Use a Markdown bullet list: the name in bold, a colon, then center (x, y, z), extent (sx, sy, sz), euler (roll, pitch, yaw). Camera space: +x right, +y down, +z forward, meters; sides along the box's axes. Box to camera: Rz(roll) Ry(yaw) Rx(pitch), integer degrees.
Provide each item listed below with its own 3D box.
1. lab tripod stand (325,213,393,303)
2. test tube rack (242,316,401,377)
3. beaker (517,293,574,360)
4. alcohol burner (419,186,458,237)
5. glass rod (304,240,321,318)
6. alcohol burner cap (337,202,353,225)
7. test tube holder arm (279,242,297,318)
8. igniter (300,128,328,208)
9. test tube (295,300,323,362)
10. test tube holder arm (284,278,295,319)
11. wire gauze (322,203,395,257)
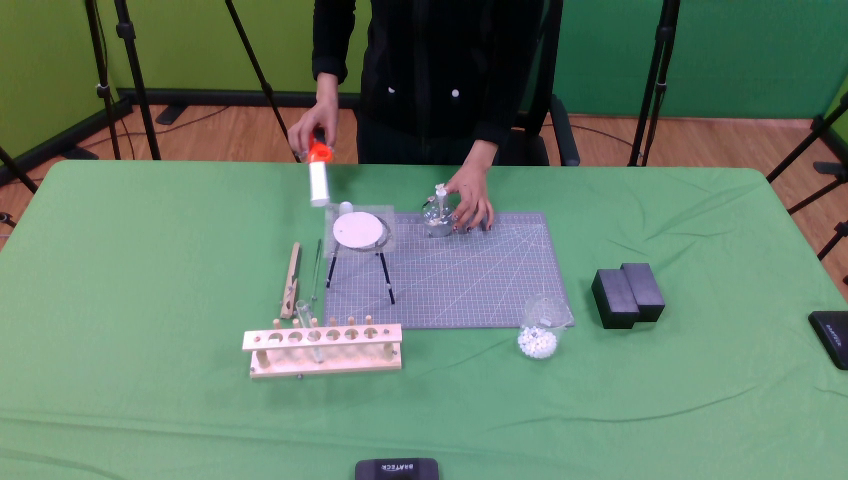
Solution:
- **lab tripod stand**: center (-0.104, 0.031, 1.080), extent (0.148, 0.132, 0.147), euler (4, 45, -4)
- **test tube rack**: center (-0.161, 0.166, 0.983), extent (0.242, 0.085, 0.066), euler (-2, 46, -6)
- **beaker**: center (0.200, 0.149, 1.018), extent (0.084, 0.101, 0.073), euler (14, 47, 8)
- **alcohol burner**: center (0.030, -0.063, 1.197), extent (0.078, 0.119, 0.077), euler (3, 48, -3)
- **glass rod**: center (-0.207, 0.068, 1.128), extent (0.008, 0.008, 0.198), euler (2, 43, -2)
- **alcohol burner cap**: center (-0.161, -0.056, 1.223), extent (0.034, 0.048, 0.033), euler (2, 46, -2)
- **test tube holder arm**: center (-0.249, 0.069, 1.114), extent (0.013, 0.015, 0.177), euler (26, 38, -27)
- **igniter**: center (-0.225, -0.155, 1.237), extent (0.057, 0.025, 0.274), euler (-5, 41, -7)
- **test tube**: center (-0.176, 0.143, 0.935), extent (0.017, 0.151, 0.017), euler (-2, 46, 2)
- **test tube holder arm**: center (-0.241, 0.103, 1.085), extent (0.010, 0.015, 0.087), euler (26, 38, -27)
- **wire gauze**: center (-0.111, -0.020, 1.035), extent (0.121, 0.011, 0.124), euler (0, 47, -7)
